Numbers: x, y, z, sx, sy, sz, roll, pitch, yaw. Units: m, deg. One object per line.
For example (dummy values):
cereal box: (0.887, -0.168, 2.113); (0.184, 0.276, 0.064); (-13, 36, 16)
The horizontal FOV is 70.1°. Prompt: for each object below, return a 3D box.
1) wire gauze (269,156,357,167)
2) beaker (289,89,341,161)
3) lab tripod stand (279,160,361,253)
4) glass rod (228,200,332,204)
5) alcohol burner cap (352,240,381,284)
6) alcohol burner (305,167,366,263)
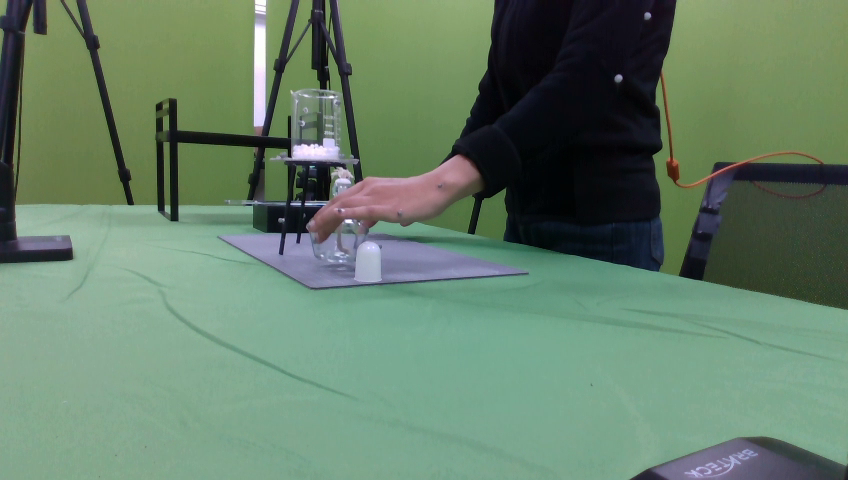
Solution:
wire gauze: (-0.159, -0.116, 0.886); (0.122, 0.011, 0.125); (2, 4, -9)
beaker: (-0.161, -0.164, 0.879); (0.073, 0.100, 0.084); (6, 8, 34)
lab tripod stand: (-0.166, -0.052, 0.897); (0.148, 0.131, 0.148); (0, 7, 0)
glass rod: (-0.270, -0.071, 1.149); (0.201, 0.008, 0.008); (-1, 8, -30)
alcohol burner cap: (-0.065, 0.024, 0.690); (0.034, 0.048, 0.034); (3, 8, 0)
alcohol burner: (-0.110, -0.032, 0.761); (0.078, 0.119, 0.078); (4, 7, 0)
